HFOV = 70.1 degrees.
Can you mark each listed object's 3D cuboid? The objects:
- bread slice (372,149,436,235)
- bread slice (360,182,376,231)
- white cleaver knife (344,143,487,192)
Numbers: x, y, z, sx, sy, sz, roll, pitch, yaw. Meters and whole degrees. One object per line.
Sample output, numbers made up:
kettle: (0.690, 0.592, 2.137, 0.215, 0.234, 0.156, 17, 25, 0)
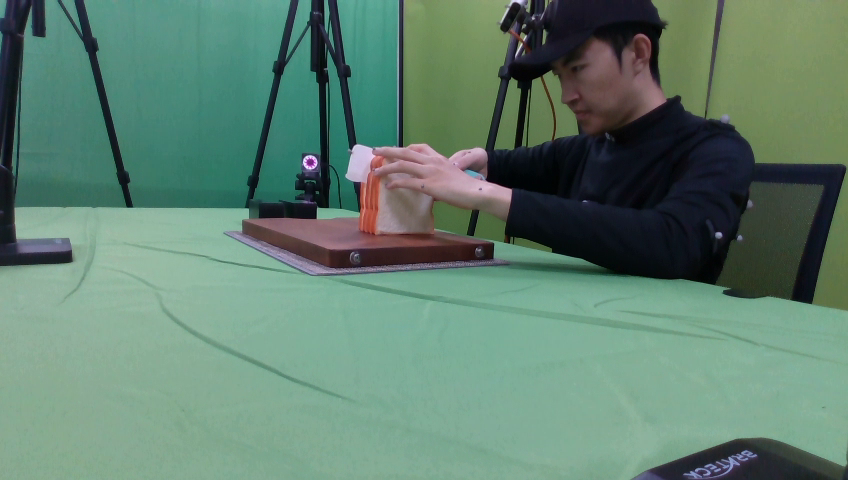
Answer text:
bread slice: (-0.031, -0.073, 0.939, 0.107, 0.134, 0.018, -4, 9, -32)
bread slice: (-0.057, -0.080, 0.988, 0.105, 0.131, 0.019, 0, 1, -35)
white cleaver knife: (-0.007, -0.105, 1.012, 0.288, 0.066, 0.021, 8, 1, -35)
